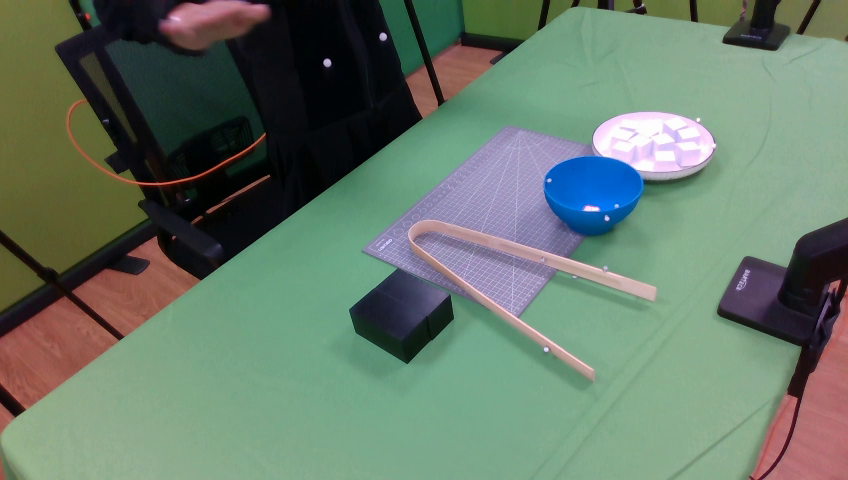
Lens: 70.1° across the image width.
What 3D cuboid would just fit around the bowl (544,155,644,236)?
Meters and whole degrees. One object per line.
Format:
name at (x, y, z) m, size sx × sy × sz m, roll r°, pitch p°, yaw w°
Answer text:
bowl at (0.266, -0.061, 0.957) m, size 0.151 × 0.077 × 0.150 m, roll -5°, pitch 40°, yaw 5°

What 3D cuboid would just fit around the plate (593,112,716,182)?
plate at (0.408, -0.163, 1.084) m, size 0.207 × 0.039 × 0.206 m, roll -4°, pitch 40°, yaw 4°

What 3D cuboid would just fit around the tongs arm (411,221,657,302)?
tongs arm at (0.149, 0.032, 0.906) m, size 0.382 × 0.026 × 0.051 m, roll 20°, pitch 52°, yaw 30°

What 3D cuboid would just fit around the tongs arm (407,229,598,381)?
tongs arm at (0.092, 0.081, 0.862) m, size 0.028 × 0.028 × 0.384 m, roll -38°, pitch 47°, yaw -20°
